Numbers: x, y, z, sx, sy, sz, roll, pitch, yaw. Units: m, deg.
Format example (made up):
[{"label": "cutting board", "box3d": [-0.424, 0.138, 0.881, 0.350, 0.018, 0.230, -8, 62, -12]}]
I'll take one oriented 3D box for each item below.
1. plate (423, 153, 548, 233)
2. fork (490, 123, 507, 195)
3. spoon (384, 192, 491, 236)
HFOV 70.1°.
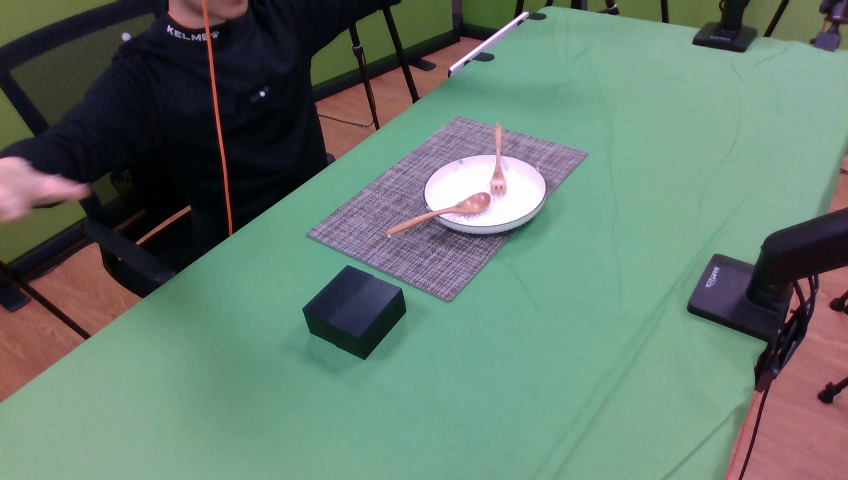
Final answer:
[{"label": "plate", "box3d": [0.104, -0.076, 1.024, 0.209, 0.038, 0.208, -4, 40, 4]}, {"label": "fork", "box3d": [0.133, -0.149, 1.082, 0.028, 0.019, 0.206, -2, 49, 8]}, {"label": "spoon", "box3d": [0.023, -0.042, 0.970, 0.195, 0.022, 0.041, -17, 45, -23]}]
